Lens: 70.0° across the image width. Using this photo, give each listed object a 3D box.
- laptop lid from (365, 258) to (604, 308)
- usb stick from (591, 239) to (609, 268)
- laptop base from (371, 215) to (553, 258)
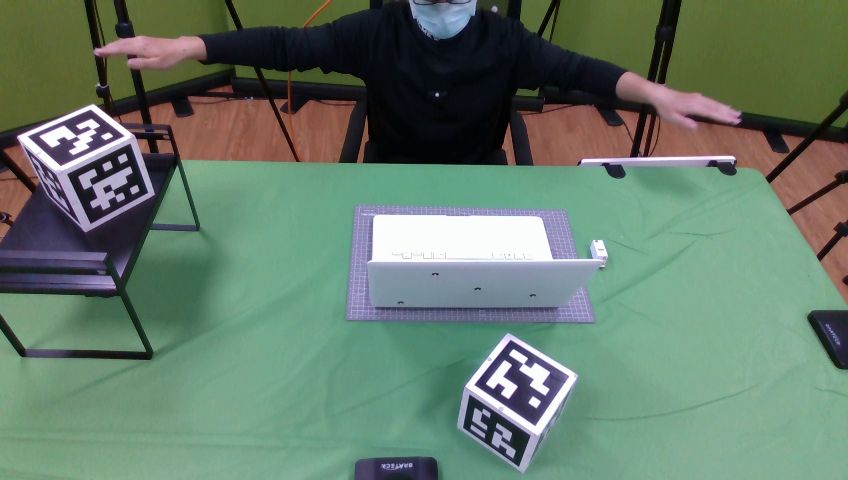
[{"bbox_3d":[0.085,0.074,0.978,0.357,0.242,0.013,1,67,-5],"label":"laptop lid"},{"bbox_3d":[0.347,0.028,1.188,0.021,0.027,0.059,4,48,-6],"label":"usb stick"},{"bbox_3d":[0.075,0.037,1.167,0.355,0.023,0.234,0,43,-4],"label":"laptop base"}]
